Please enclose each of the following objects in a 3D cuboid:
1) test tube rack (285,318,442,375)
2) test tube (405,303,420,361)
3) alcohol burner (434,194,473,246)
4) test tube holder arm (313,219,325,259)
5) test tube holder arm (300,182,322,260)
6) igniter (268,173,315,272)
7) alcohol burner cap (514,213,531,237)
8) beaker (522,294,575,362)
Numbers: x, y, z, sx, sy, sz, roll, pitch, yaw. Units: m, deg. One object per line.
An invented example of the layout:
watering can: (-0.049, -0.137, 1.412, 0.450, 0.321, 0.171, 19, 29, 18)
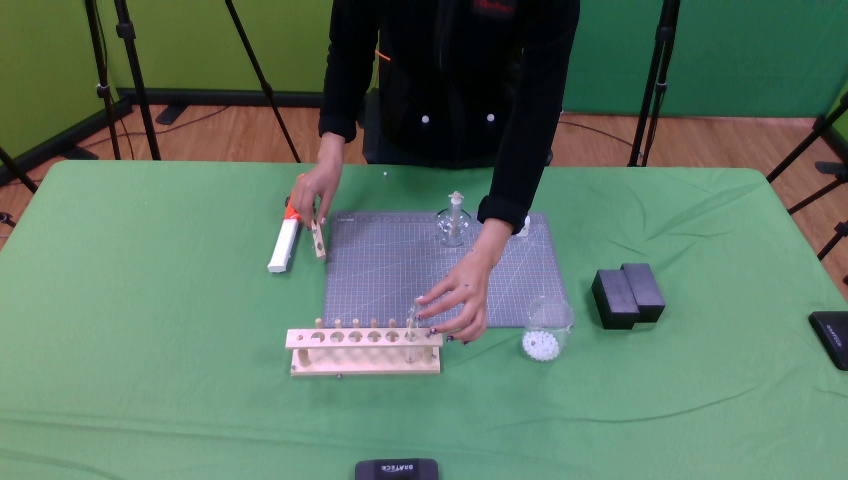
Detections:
test tube rack: (-0.095, 0.168, 0.986, 0.242, 0.085, 0.066, 0, 46, -4)
test tube: (-0.018, 0.146, 0.943, 0.017, 0.151, 0.017, 3, 48, -3)
alcohol burner: (0.059, -0.046, 1.179, 0.078, 0.120, 0.077, 1, 48, -1)
test tube holder arm: (-0.201, -0.003, 1.153, 0.010, 0.015, 0.087, -9, 60, -18)
test tube holder arm: (-0.220, -0.039, 1.173, 0.013, 0.015, 0.177, -10, 60, -18)
igniter: (-0.264, -0.044, 1.219, 0.057, 0.025, 0.275, -2, 45, 8)
alcohol burner cap: (0.200, -0.033, 1.227, 0.034, 0.048, 0.033, 1, 46, -1)
beaker: (0.203, 0.152, 1.013, 0.084, 0.101, 0.073, -28, 53, -26)
